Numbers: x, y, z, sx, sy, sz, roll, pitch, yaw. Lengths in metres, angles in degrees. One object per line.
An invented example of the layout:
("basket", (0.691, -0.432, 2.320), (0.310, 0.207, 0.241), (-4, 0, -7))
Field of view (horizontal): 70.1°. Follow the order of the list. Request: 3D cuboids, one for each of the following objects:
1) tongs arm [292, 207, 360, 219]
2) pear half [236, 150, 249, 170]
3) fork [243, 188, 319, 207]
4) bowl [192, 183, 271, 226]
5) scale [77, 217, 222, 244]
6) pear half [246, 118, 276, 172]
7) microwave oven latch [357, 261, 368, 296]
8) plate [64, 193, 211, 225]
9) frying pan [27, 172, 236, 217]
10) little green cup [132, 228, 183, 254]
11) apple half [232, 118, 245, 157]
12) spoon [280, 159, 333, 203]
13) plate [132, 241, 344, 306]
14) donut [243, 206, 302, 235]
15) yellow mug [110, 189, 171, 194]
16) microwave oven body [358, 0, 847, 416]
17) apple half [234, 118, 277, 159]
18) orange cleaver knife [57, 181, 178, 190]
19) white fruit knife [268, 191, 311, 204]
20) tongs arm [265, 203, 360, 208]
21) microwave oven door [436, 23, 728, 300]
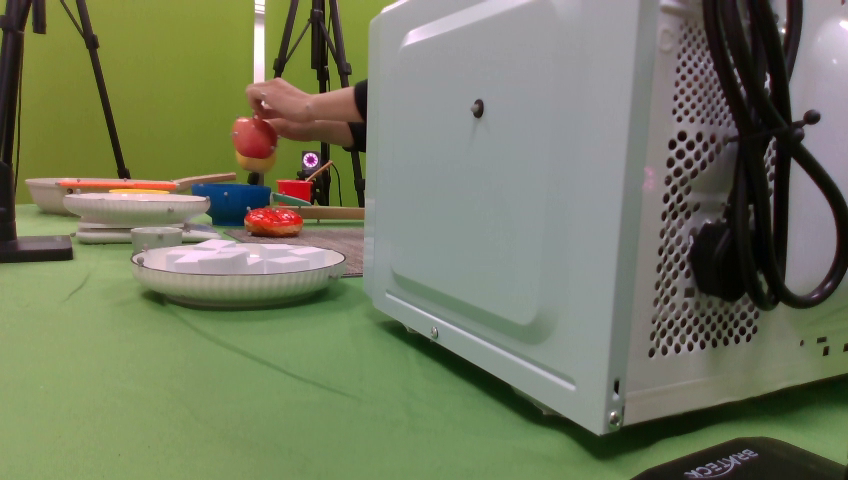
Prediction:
("tongs arm", (-0.173, -0.062, 1.362), (0.387, 0.026, 0.050), (-2, 6, -30))
("pear half", (-0.366, -0.188, 1.232), (0.031, 0.088, 0.070), (7, 3, -21))
("fork", (-0.356, -0.105, 1.526), (0.208, 0.018, 0.028), (16, -6, -41))
("bowl", (-0.382, -0.070, 1.202), (0.151, 0.077, 0.151), (3, 7, 0))
("scale", (-0.434, -0.018, 0.963), (0.202, 0.031, 0.148), (-1, 8, -27))
("pear half", (-0.331, -0.194, 1.243), (0.056, 0.109, 0.076), (7, 4, -20))
("microwave oven latch", (-0.019, 0.033, 0.532), (0.079, 0.029, 0.030), (-1, 8, -29))
("plate", (-0.446, -0.050, 0.952), (0.209, 0.038, 0.209), (2, 7, 0))
("frying pan", (-0.624, -0.118, 1.387), (0.305, 0.102, 0.490), (8, 17, 32))
("little green cup", (-0.342, 0.006, 0.779), (0.061, 0.038, 0.061), (2, 8, 0))
("apple half", (-0.338, -0.194, 1.139), (0.032, 0.081, 0.081), (13, 12, 30))
("spoon", (-0.316, -0.159, 1.640), (0.194, 0.022, 0.041), (-49, 32, -20))
("plate", (-0.187, 0.033, 0.625), (0.208, 0.039, 0.207), (2, 7, 0))
("donut", (-0.261, -0.032, 1.043), (0.099, 0.048, 0.099), (4, 10, 0))
("yellow mug", (-0.519, -0.055, 1.080), (0.099, 0.064, 0.131), (7, 10, 26))
("microwave oven body", (0.211, -0.047, 0.474), (0.444, 0.260, 0.324), (-1, 7, -28))
("apple half", (-0.305, -0.187, 1.120), (0.053, 0.074, 0.081), (14, 5, 31))
("orange cleaver knife", (-0.600, -0.109, 1.189), (0.212, 0.012, 0.077), (-1, 11, -26))
("white fruit knife", (-0.364, -0.105, 1.464), (0.208, 0.027, 0.016), (15, -1, -34))
("tongs arm", (-0.208, -0.072, 1.438), (0.389, 0.027, 0.028), (0, 2, -16))
("microwave oven door", (0.180, -0.073, 0.621), (0.358, 0.243, 0.039), (-2, 9, -29))
